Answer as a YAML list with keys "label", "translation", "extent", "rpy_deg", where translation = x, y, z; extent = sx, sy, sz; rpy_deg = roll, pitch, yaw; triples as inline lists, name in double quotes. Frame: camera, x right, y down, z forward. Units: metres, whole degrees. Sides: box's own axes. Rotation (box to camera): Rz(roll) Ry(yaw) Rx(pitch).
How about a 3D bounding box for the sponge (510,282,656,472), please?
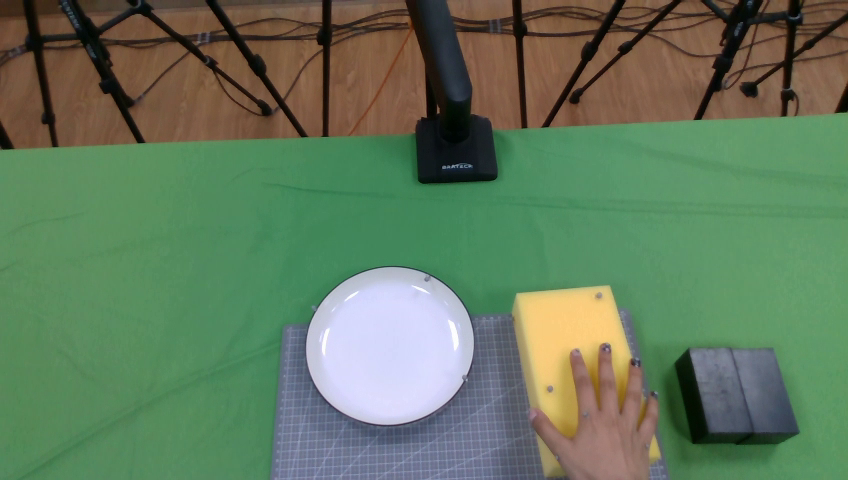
- label: "sponge"
  translation: [0.180, 0.158, 0.717]
  extent: [0.118, 0.061, 0.205]
  rpy_deg: [-6, 59, -3]

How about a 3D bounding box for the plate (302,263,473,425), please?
- label: "plate"
  translation: [-0.044, 0.128, 0.749]
  extent: [0.209, 0.038, 0.207]
  rpy_deg: [0, 59, 0]
